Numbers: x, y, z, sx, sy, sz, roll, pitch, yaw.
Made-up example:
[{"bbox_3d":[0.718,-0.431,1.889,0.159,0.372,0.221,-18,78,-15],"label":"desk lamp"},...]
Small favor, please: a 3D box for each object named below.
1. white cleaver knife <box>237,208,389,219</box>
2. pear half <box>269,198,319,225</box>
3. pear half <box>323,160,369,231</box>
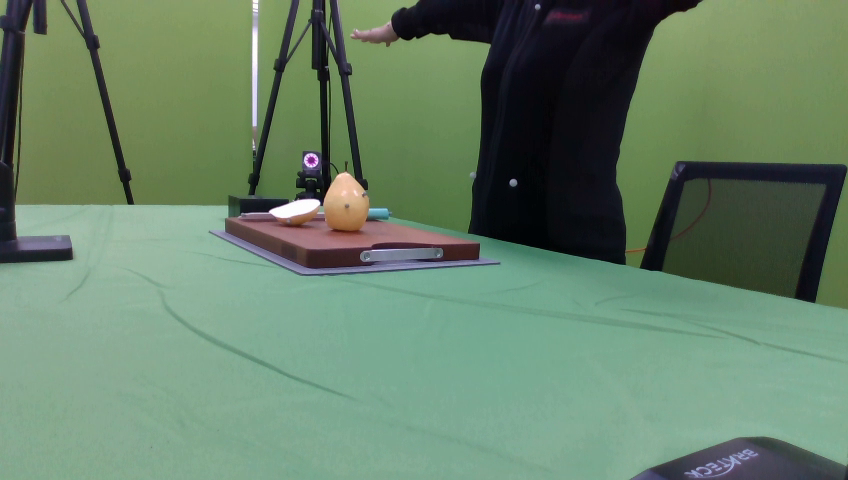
[{"bbox_3d":[-0.194,-0.049,1.104,0.288,0.021,0.065,-1,-2,-32],"label":"white cleaver knife"},{"bbox_3d":[-0.212,-0.042,0.995,0.088,0.031,0.070,-9,19,20],"label":"pear half"},{"bbox_3d":[-0.114,-0.068,0.938,0.056,0.110,0.076,6,12,27],"label":"pear half"}]
